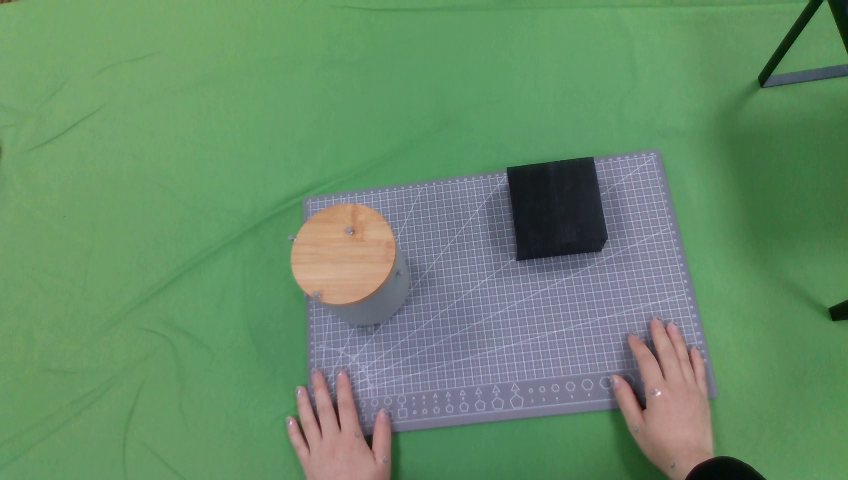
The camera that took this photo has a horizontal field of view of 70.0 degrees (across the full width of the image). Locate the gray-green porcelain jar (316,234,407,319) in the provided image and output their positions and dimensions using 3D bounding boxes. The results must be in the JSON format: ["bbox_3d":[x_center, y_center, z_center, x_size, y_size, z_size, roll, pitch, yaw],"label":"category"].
[{"bbox_3d":[-0.075,0.028,0.672,0.106,0.127,0.105,-2,72,6],"label":"gray-green porcelain jar"}]

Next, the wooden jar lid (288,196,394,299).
[{"bbox_3d":[-0.082,0.009,0.613,0.108,0.021,0.107,-3,71,8],"label":"wooden jar lid"}]
